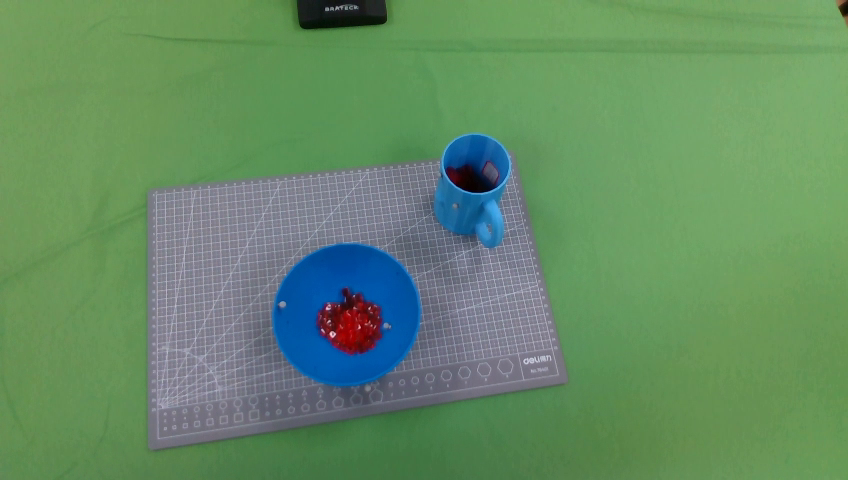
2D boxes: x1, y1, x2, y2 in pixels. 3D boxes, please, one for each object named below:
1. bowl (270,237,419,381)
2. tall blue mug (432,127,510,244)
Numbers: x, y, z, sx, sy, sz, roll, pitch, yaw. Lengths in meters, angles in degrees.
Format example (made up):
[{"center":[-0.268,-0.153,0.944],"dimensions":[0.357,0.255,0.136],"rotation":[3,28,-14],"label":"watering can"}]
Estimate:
[{"center":[-0.082,0.080,0.646],"dimensions":[0.151,0.077,0.150],"rotation":[2,69,-4],"label":"bowl"},{"center":[0.062,-0.058,0.692],"dimensions":[0.107,0.108,0.077],"rotation":[38,70,11],"label":"tall blue mug"}]
